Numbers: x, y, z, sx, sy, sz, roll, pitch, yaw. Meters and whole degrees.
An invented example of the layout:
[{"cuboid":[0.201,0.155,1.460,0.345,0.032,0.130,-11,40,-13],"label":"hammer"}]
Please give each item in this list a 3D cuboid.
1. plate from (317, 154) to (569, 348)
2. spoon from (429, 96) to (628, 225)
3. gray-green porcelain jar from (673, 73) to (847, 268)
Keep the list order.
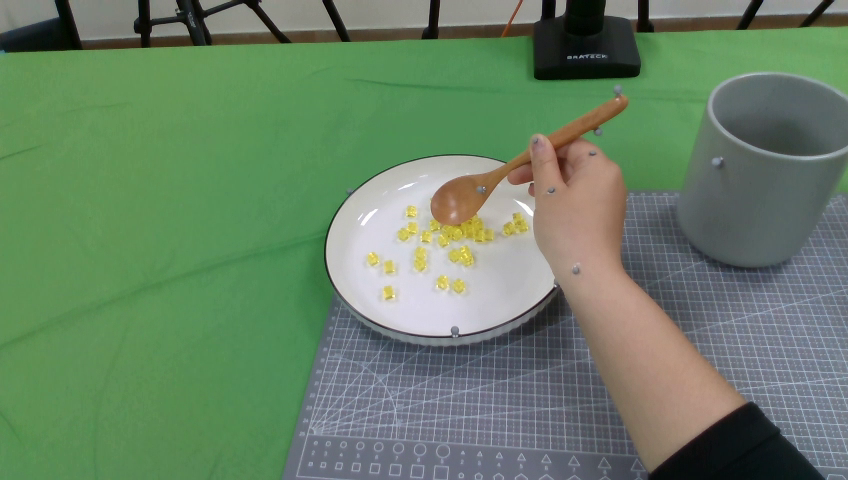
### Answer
[{"cuboid":[0.016,0.008,0.516,0.207,0.039,0.205,-3,48,3],"label":"plate"},{"cuboid":[0.075,-0.061,0.484,0.022,0.193,0.041,2,67,-44],"label":"spoon"},{"cuboid":[0.260,-0.049,0.479,0.106,0.128,0.105,-3,48,4],"label":"gray-green porcelain jar"}]
